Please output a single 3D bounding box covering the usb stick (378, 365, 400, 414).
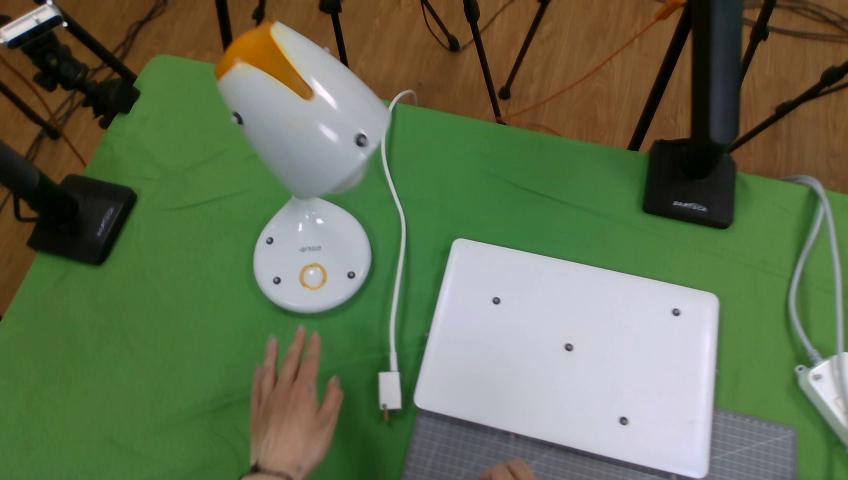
[{"bbox_3d":[-0.044,0.185,0.752,0.027,0.021,0.059,-1,76,1],"label":"usb stick"}]

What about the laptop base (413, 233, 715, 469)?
[{"bbox_3d":[0.182,0.131,0.775,0.354,0.023,0.234,12,70,7],"label":"laptop base"}]

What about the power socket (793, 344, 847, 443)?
[{"bbox_3d":[0.537,0.226,0.713,0.072,0.033,0.225,-26,68,-9],"label":"power socket"}]

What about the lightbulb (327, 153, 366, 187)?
[{"bbox_3d":[-0.090,-0.092,0.500,0.059,0.109,0.059,-23,34,17],"label":"lightbulb"}]

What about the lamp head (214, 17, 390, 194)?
[{"bbox_3d":[-0.107,-0.116,0.491,0.124,0.111,0.112,45,69,-26],"label":"lamp head"}]

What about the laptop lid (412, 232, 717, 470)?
[{"bbox_3d":[0.181,0.128,0.763,0.356,0.013,0.240,14,69,8],"label":"laptop lid"}]

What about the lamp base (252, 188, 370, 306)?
[{"bbox_3d":[-0.160,-0.028,0.763,0.161,0.181,0.177,-16,64,-5],"label":"lamp base"}]
